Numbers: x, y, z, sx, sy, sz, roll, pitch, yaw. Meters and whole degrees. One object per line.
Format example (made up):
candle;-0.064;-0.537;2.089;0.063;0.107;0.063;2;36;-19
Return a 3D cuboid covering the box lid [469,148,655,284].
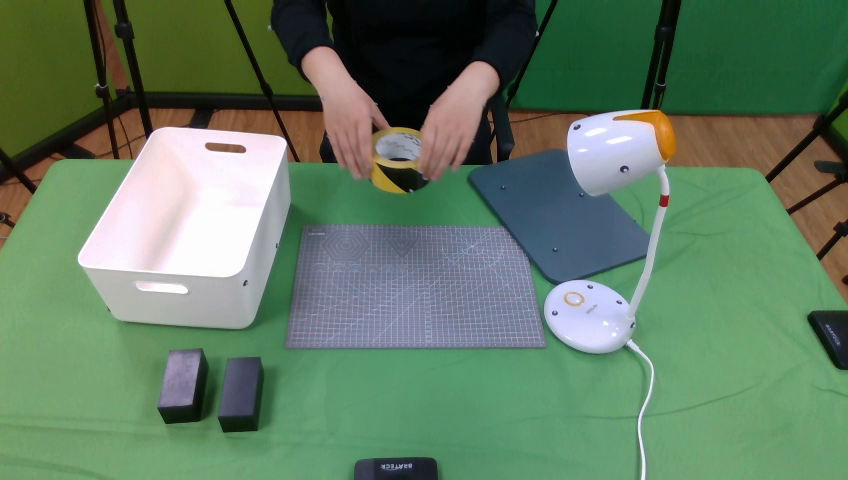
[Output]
box lid;0.285;-0.064;1.289;0.263;0.015;0.369;-16;49;-19

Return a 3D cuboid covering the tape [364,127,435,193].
tape;-0.039;-0.132;0.988;0.117;0.053;0.116;2;46;-2

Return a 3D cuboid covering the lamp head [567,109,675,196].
lamp head;0.272;-0.123;0.818;0.122;0.113;0.112;-9;35;37

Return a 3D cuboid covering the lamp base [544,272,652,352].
lamp base;0.310;0.086;1.029;0.178;0.181;0.160;32;52;21

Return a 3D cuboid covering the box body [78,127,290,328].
box body;-0.400;-0.026;1.095;0.254;0.161;0.362;4;46;0
